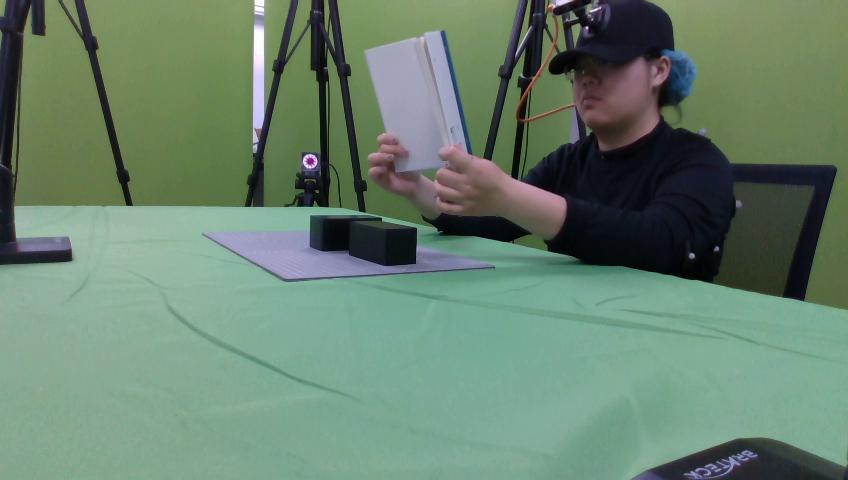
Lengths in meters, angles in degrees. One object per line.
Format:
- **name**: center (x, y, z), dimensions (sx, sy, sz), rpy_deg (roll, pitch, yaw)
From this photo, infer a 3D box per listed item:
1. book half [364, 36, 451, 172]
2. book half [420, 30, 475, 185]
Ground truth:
- **book half**: center (-0.014, -0.217, 0.993), dimensions (0.142, 0.210, 0.007), rpy_deg (-2, 22, 33)
- **book half**: center (0.038, -0.197, 0.889), dimensions (0.016, 0.210, 0.149), rpy_deg (-9, 18, 16)
